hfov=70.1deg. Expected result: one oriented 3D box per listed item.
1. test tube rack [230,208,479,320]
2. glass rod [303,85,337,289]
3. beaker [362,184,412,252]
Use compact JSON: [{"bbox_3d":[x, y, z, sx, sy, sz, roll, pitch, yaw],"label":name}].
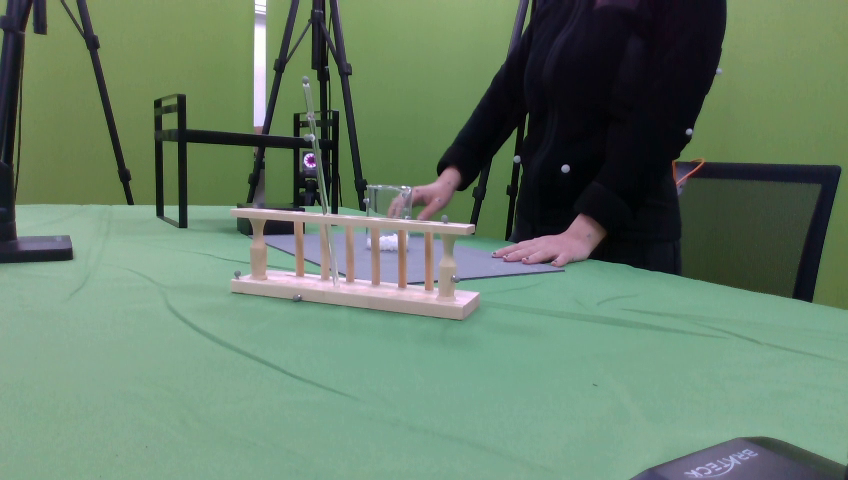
[{"bbox_3d":[-0.069,0.017,0.598,0.242,0.085,0.067,5,8,18],"label":"test tube rack"},{"bbox_3d":[-0.099,-0.047,0.578,0.008,0.199,0.008,-6,8,1],"label":"glass rod"},{"bbox_3d":[-0.055,-0.034,0.935,0.083,0.100,0.074,10,11,44],"label":"beaker"}]
